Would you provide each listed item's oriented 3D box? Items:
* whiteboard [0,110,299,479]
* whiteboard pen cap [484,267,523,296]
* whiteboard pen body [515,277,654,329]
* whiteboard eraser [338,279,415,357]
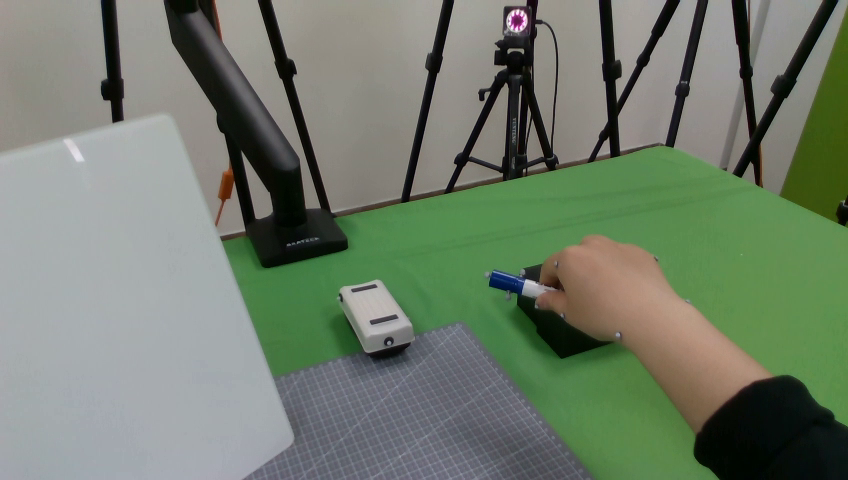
[{"bbox_3d":[-0.269,0.079,0.483,0.217,0.307,0.143,-28,21,-38],"label":"whiteboard"},{"bbox_3d":[0.072,0.038,0.550,0.033,0.018,0.018,-25,34,-4],"label":"whiteboard pen cap"},{"bbox_3d":[0.132,0.052,0.537,0.140,0.017,0.017,16,34,14],"label":"whiteboard pen body"},{"bbox_3d":[-0.055,0.086,0.672,0.056,0.042,0.111,-14,29,-18],"label":"whiteboard eraser"}]
